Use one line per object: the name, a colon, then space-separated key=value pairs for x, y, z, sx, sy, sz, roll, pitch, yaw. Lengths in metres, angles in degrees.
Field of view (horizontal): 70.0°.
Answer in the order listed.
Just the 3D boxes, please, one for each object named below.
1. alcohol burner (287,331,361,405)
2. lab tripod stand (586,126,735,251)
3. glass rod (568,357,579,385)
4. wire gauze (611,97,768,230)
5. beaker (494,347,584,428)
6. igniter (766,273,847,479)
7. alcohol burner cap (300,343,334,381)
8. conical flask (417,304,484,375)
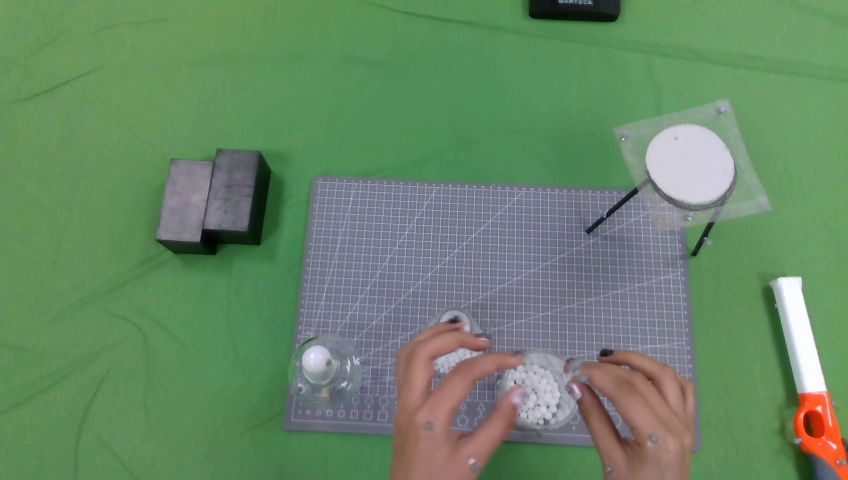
alcohol burner: x=-0.105 y=0.129 z=0.621 sx=0.078 sy=0.120 sz=0.077 roll=0 pitch=71 yaw=-1
lab tripod stand: x=0.263 y=-0.052 z=0.667 sx=0.148 sy=0.132 sz=0.147 roll=0 pitch=74 yaw=0
glass rod: x=0.118 y=0.106 z=0.477 sx=0.008 sy=0.201 sz=0.008 roll=-3 pitch=73 yaw=12
wire gauze: x=0.264 y=-0.076 z=0.604 sx=0.125 sy=0.011 sz=0.120 roll=-13 pitch=74 yaw=-4
beaker: x=0.113 y=0.152 z=0.620 sx=0.084 sy=0.101 sz=0.073 roll=-15 pitch=73 yaw=-5
igniter: x=0.417 y=0.171 z=0.652 sx=0.057 sy=0.025 sz=0.275 roll=-1 pitch=73 yaw=-11
alcohol burner cap: x=-0.105 y=0.116 z=0.587 sx=0.034 sy=0.048 sz=0.033 roll=3 pitch=65 yaw=-5
conical flask: x=0.028 y=0.096 z=0.626 sx=0.075 sy=0.122 sz=0.075 roll=0 pitch=72 yaw=1
